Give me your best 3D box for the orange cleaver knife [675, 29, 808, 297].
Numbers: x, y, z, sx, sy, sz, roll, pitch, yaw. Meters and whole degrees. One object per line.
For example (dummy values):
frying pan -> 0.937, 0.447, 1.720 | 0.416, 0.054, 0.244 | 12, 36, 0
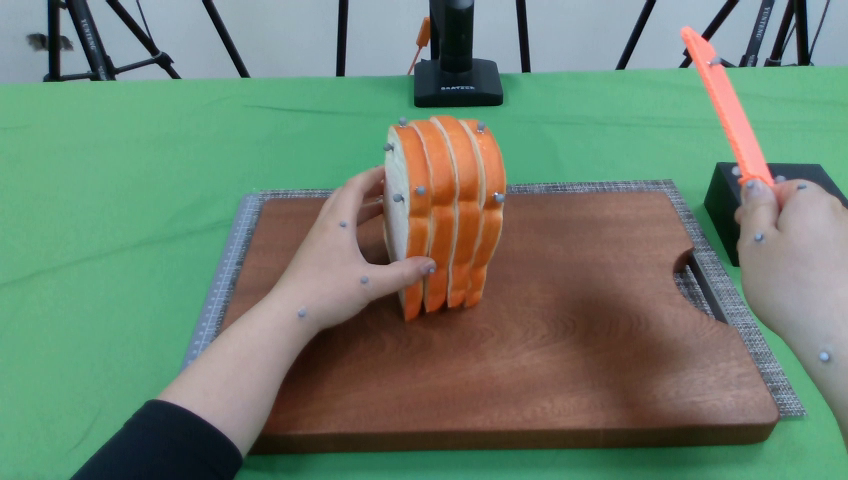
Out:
orange cleaver knife -> 0.209, -0.057, 0.398 | 0.078, 0.012, 0.209 | 21, 51, -41

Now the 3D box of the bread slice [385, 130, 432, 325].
bread slice -> -0.014, -0.018, 0.479 | 0.018, 0.135, 0.106 | -6, 37, -12

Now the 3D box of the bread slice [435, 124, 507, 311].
bread slice -> 0.036, -0.023, 0.484 | 0.019, 0.132, 0.103 | -3, 42, -15
